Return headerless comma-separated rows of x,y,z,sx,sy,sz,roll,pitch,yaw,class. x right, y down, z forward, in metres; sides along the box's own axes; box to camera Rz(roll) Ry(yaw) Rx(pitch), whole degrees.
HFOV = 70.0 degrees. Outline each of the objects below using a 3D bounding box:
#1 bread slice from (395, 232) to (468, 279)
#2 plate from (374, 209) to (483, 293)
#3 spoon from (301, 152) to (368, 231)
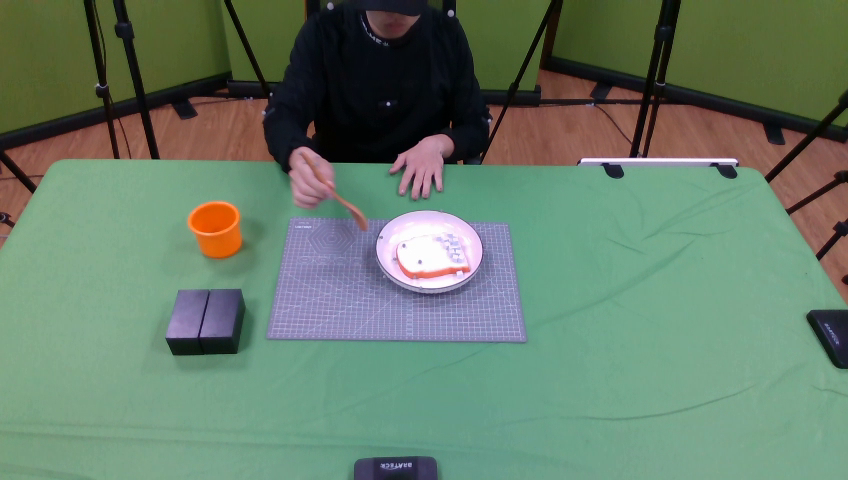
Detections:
0.011,0.030,1.159,0.132,0.019,0.104,-8,47,-14,bread slice
0.009,0.024,1.160,0.209,0.038,0.208,2,46,-2,plate
-0.154,-0.082,1.060,0.021,0.195,0.041,-50,39,-11,spoon
